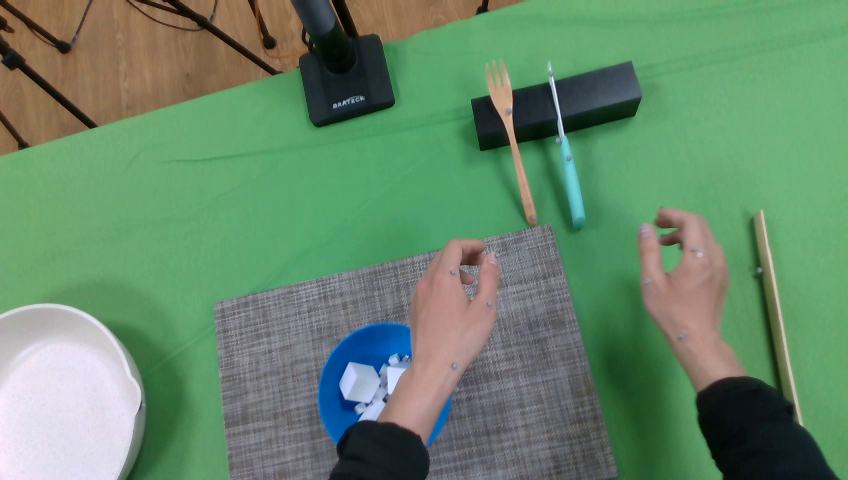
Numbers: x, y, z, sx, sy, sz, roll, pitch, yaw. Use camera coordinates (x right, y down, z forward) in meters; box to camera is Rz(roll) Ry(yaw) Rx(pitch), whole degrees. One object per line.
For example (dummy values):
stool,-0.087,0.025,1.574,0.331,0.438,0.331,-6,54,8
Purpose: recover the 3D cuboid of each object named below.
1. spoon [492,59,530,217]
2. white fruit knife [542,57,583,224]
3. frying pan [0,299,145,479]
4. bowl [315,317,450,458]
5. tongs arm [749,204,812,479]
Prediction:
spoon,0.110,-0.123,0.744,0.041,0.022,0.194,-3,96,34
white fruit knife,0.167,-0.122,0.741,0.016,0.027,0.207,-12,89,1
frying pan,-0.460,0.314,0.713,0.307,0.103,0.483,-14,65,6
bowl,-0.040,0.168,0.695,0.151,0.077,0.150,-2,75,8
tongs arm,0.401,0.145,0.660,0.028,0.028,0.385,-5,75,5
